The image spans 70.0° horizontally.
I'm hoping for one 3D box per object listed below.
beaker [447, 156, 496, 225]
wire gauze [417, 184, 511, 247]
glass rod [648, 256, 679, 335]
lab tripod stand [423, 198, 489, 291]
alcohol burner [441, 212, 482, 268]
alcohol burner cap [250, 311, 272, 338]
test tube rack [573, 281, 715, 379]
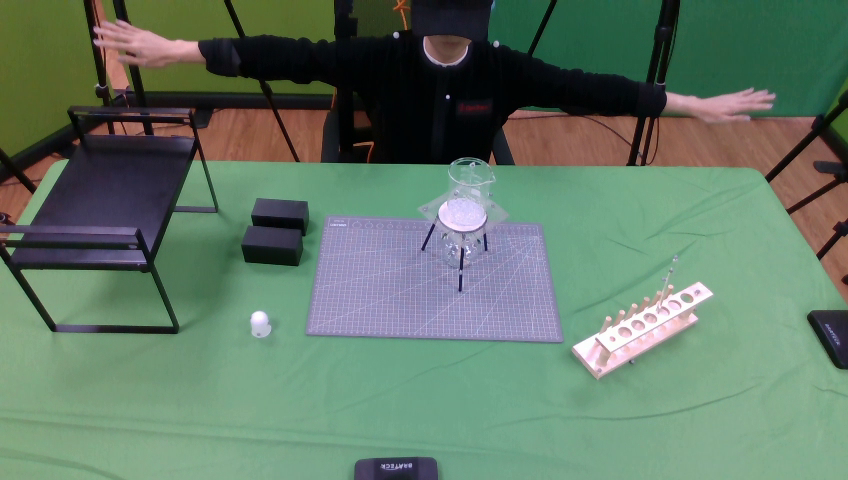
[{"bbox_3d":[0.078,-0.081,1.037,0.084,0.101,0.073,15,48,12],"label":"beaker"},{"bbox_3d":[0.071,-0.049,1.074,0.121,0.011,0.124,-31,52,-30],"label":"wire gauze"},{"bbox_3d":[0.390,0.095,0.990,0.008,0.201,0.008,-2,45,2],"label":"glass rod"},{"bbox_3d":[0.064,-0.002,1.119,0.148,0.132,0.147,1,47,0],"label":"lab tripod stand"},{"bbox_3d":[0.071,-0.005,1.136,0.078,0.120,0.077,1,44,-1],"label":"alcohol burner"},{"bbox_3d":[-0.278,0.141,1.026,0.034,0.048,0.033,1,46,-1],"label":"alcohol burner cap"},{"bbox_3d":[0.378,0.140,1.038,0.242,0.085,0.066,-22,51,-22],"label":"test tube rack"}]
